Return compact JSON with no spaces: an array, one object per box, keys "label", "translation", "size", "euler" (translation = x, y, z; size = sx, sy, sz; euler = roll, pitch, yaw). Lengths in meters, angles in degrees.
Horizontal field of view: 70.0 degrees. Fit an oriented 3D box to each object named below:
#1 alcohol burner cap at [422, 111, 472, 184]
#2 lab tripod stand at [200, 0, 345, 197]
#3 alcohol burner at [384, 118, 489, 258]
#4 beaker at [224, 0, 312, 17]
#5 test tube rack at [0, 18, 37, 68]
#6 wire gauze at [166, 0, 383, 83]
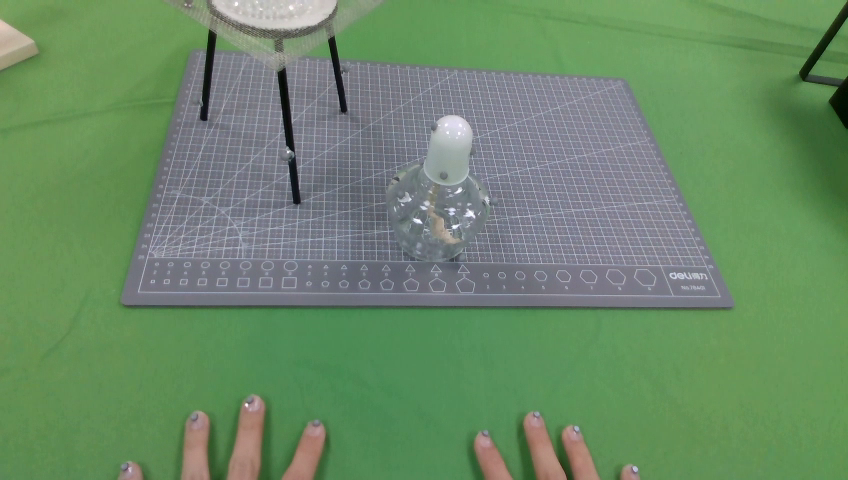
[{"label":"alcohol burner cap","translation":[0.017,-0.064,0.406],"size":[0.034,0.048,0.033],"euler":[3,54,-4]},{"label":"lab tripod stand","translation":[-0.113,-0.128,0.471],"size":[0.149,0.132,0.147],"euler":[6,50,-7]},{"label":"alcohol burner","translation":[0.012,-0.042,0.434],"size":[0.078,0.120,0.077],"euler":[6,49,-7]},{"label":"beaker","translation":[-0.104,-0.202,0.383],"size":[0.073,0.101,0.084],"euler":[33,54,16]},{"label":"test tube rack","translation":[-0.442,-0.146,0.461],"size":[0.066,0.086,0.241],"euler":[32,52,16]},{"label":"wire gauze","translation":[-0.106,-0.170,0.421],"size":[0.124,0.011,0.121],"euler":[34,56,13]}]
